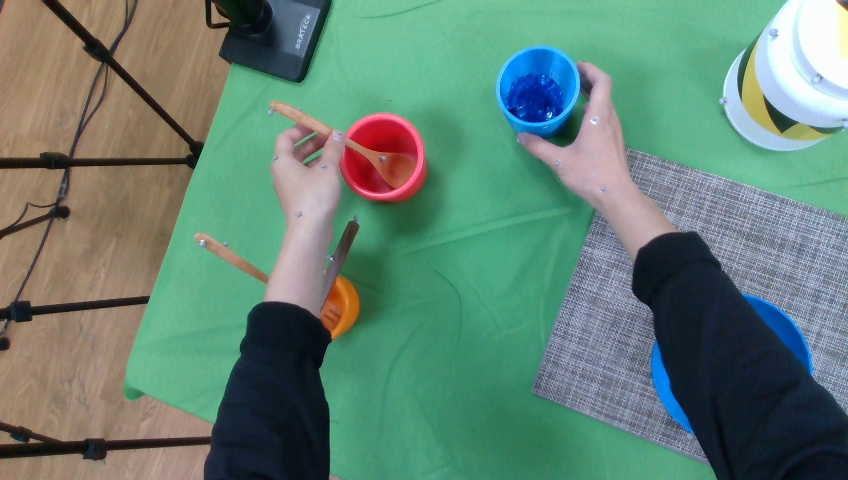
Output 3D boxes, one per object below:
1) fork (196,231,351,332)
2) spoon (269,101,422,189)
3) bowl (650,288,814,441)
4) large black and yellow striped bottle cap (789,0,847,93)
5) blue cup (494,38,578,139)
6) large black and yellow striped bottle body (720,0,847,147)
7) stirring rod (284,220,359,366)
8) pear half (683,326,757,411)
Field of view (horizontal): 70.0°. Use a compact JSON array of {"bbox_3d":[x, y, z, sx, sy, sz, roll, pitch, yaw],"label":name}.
[{"bbox_3d":[-0.164,0.048,0.677,0.028,0.018,0.209,-45,125,11],"label":"fork"},{"bbox_3d":[-0.083,-0.108,0.680,0.195,0.021,0.041,25,93,-33],"label":"spoon"},{"bbox_3d":[0.307,0.125,0.630,0.151,0.077,0.151,-1,86,10],"label":"bowl"},{"bbox_3d":[0.370,-0.180,0.506,0.115,0.019,0.115,-1,86,10],"label":"large black and yellow striped bottle cap"},{"bbox_3d":[0.123,-0.154,0.670,0.092,0.100,0.092,-1,83,10],"label":"blue cup"},{"bbox_3d":[0.383,-0.174,0.589,0.130,0.184,0.130,-1,85,9],"label":"large black and yellow striped bottle body"},{"bbox_3d":[-0.113,0.058,0.667,0.014,0.006,0.176,25,91,7],"label":"stirring rod"},{"bbox_3d":[0.308,0.132,0.623,0.070,0.031,0.087,-7,80,6],"label":"pear half"}]
